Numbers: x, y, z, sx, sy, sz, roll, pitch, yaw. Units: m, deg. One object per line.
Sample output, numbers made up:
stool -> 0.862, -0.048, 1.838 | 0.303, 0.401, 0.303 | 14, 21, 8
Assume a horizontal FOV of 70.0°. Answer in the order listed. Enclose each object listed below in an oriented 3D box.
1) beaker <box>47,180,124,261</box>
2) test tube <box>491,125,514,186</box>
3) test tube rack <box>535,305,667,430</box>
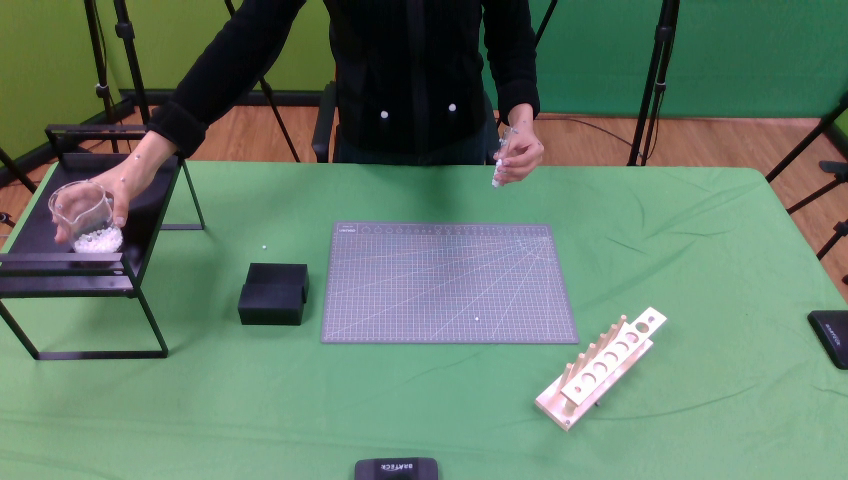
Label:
beaker -> -0.486, -0.024, 0.879 | 0.074, 0.101, 0.083 | -6, 48, -8
test tube -> 0.130, -0.138, 1.015 | 0.017, 0.151, 0.017 | 2, 59, -2
test tube rack -> 0.290, 0.193, 0.984 | 0.242, 0.085, 0.066 | -32, 56, -30
